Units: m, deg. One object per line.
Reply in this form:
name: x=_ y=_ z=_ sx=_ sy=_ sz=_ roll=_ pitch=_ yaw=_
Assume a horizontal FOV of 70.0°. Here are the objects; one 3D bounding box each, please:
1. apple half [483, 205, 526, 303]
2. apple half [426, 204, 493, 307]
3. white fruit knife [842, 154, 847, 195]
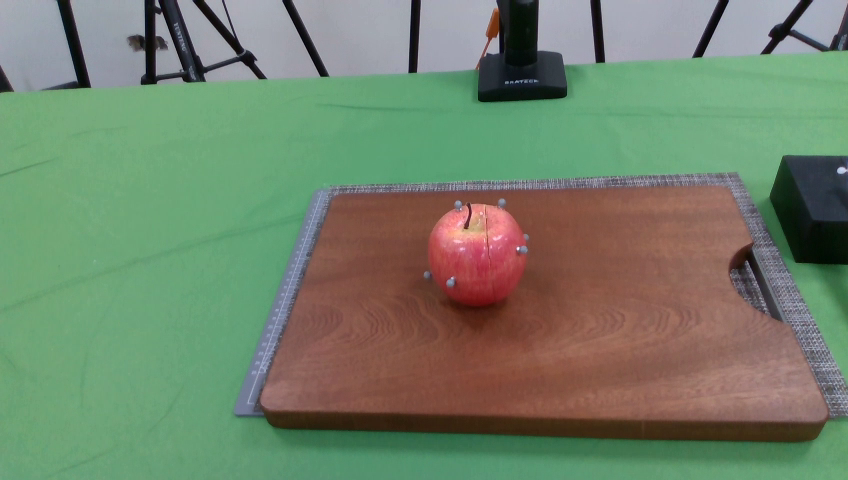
apple half: x=0.068 y=0.011 z=0.497 sx=0.033 sy=0.082 sz=0.080 roll=-7 pitch=40 yaw=7
apple half: x=0.029 y=0.015 z=0.501 sx=0.053 sy=0.075 sz=0.080 roll=-7 pitch=44 yaw=8
white fruit knife: x=0.369 y=0.014 z=0.493 sx=0.027 sy=0.016 sz=0.205 roll=1 pitch=61 yaw=9
